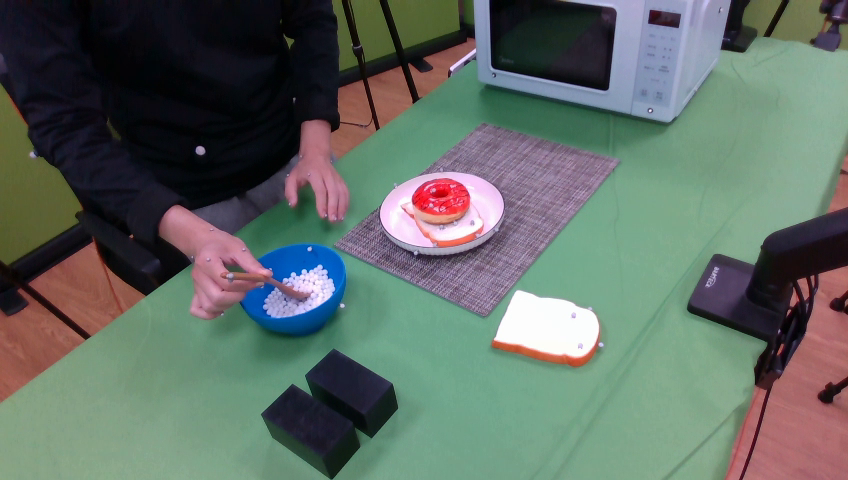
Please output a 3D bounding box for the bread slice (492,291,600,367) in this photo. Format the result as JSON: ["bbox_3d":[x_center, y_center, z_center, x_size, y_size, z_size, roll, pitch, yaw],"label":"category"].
[{"bbox_3d":[0.169,0.118,0.811,0.131,0.019,0.105,11,44,21],"label":"bread slice"}]

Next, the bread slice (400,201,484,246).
[{"bbox_3d":[0.037,-0.038,0.990,0.107,0.018,0.133,-23,43,-17],"label":"bread slice"}]

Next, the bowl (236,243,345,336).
[{"bbox_3d":[-0.180,0.082,0.856,0.151,0.077,0.150,-4,41,4],"label":"bowl"}]

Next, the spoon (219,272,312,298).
[{"bbox_3d":[-0.205,0.056,0.791,0.041,0.195,0.021,15,82,22],"label":"spoon"}]

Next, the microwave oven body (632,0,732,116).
[{"bbox_3d":[0.377,-0.463,1.267,0.438,0.261,0.327,21,48,30],"label":"microwave oven body"}]

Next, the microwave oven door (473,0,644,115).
[{"bbox_3d":[0.257,-0.396,1.199,0.353,0.245,0.039,21,48,29],"label":"microwave oven door"}]

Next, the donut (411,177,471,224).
[{"bbox_3d":[0.028,-0.064,0.978,0.099,0.048,0.098,-4,40,4],"label":"donut"}]

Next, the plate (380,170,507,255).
[{"bbox_3d":[0.033,-0.042,0.995,0.207,0.039,0.206,-4,40,4],"label":"plate"}]

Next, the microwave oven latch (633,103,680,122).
[{"bbox_3d":[0.444,-0.249,1.157,0.078,0.029,0.030,21,49,30],"label":"microwave oven latch"}]
